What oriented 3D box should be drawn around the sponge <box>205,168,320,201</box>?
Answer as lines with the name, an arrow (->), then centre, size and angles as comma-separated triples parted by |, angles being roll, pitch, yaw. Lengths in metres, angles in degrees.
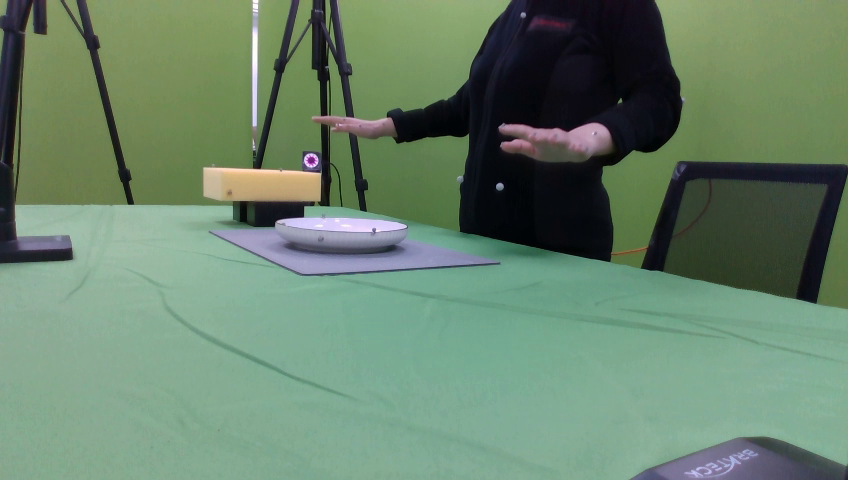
sponge -> -0.332, -0.114, 1.247 | 0.208, 0.061, 0.117 | -3, 9, -37

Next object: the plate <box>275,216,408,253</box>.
plate -> -0.129, -0.009, 0.954 | 0.209, 0.038, 0.209 | 2, 7, 0
